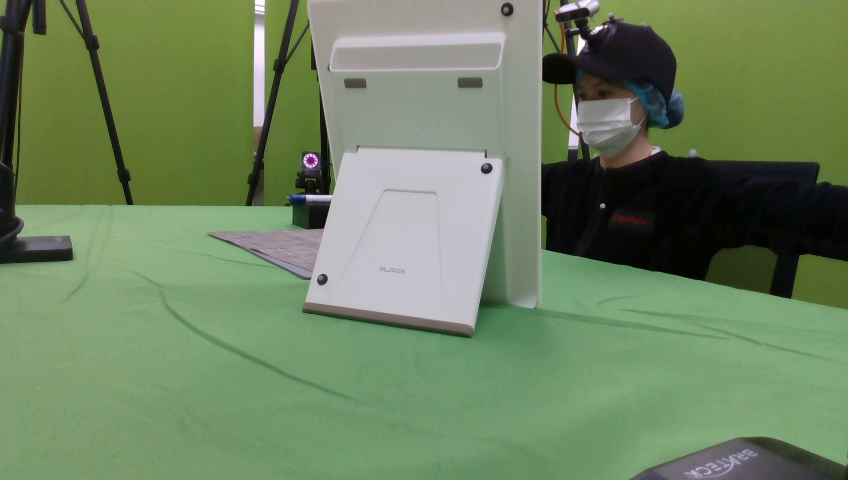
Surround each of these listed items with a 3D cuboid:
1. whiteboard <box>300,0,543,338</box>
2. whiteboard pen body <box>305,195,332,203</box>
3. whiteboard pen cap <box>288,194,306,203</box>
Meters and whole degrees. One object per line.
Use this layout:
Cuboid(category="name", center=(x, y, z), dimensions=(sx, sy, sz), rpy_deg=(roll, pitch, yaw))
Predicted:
Cuboid(category="whiteboard", center=(-0.020, -0.050, 0.523), dimensions=(0.216, 0.305, 0.144), rpy_deg=(6, 27, 22))
Cuboid(category="whiteboard pen body", center=(-0.201, -0.085, 1.237), dimensions=(0.141, 0.017, 0.017), rpy_deg=(-2, 9, -33))
Cuboid(category="whiteboard pen cap", center=(-0.253, -0.083, 1.204), dimensions=(0.033, 0.018, 0.018), rpy_deg=(-4, 10, -34))
